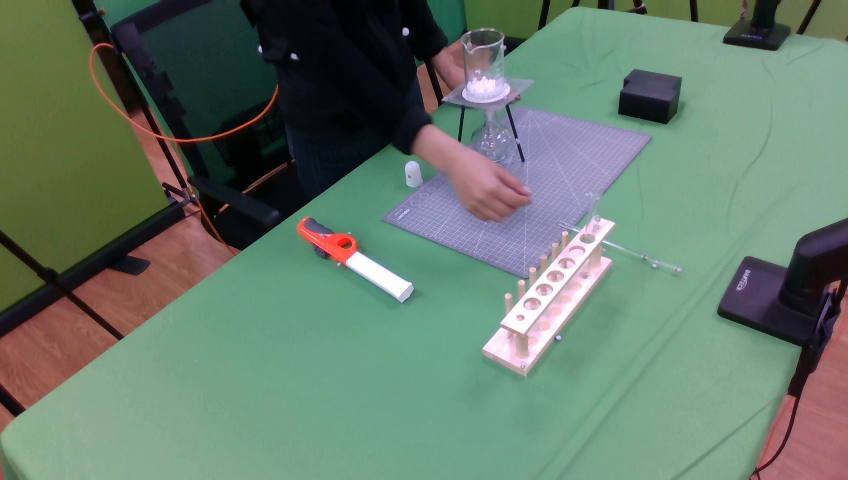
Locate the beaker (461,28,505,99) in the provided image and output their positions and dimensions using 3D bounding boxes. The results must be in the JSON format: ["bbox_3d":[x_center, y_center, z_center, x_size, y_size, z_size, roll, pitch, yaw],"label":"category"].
[{"bbox_3d":[0.103,-0.304,1.051,0.073,0.101,0.084,19,48,29],"label":"beaker"}]

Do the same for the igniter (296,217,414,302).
[{"bbox_3d":[-0.121,0.025,0.970,0.274,0.025,0.057,29,63,37],"label":"igniter"}]

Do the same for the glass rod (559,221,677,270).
[{"bbox_3d":[0.292,0.007,0.927,0.198,0.008,0.008,26,52,36],"label":"glass rod"}]

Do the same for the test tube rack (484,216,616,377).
[{"bbox_3d":[0.174,0.064,0.823,0.066,0.085,0.243,23,49,32],"label":"test tube rack"}]

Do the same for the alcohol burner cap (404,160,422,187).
[{"bbox_3d":[-0.023,-0.125,1.118,0.034,0.048,0.033,-4,41,4],"label":"alcohol burner cap"}]

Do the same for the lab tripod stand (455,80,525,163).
[{"bbox_3d":[0.121,-0.219,1.126,0.148,0.132,0.147,-4,39,4],"label":"lab tripod stand"}]

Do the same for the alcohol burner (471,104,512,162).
[{"bbox_3d":[0.125,-0.207,1.126,0.078,0.119,0.077,-5,43,5],"label":"alcohol burner"}]

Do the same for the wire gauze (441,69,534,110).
[{"bbox_3d":[0.114,-0.268,1.082,0.120,0.011,0.125,22,47,28],"label":"wire gauze"}]

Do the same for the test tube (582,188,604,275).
[{"bbox_3d":[0.228,-0.007,0.821,0.017,0.151,0.017,-3,42,3],"label":"test tube"}]
